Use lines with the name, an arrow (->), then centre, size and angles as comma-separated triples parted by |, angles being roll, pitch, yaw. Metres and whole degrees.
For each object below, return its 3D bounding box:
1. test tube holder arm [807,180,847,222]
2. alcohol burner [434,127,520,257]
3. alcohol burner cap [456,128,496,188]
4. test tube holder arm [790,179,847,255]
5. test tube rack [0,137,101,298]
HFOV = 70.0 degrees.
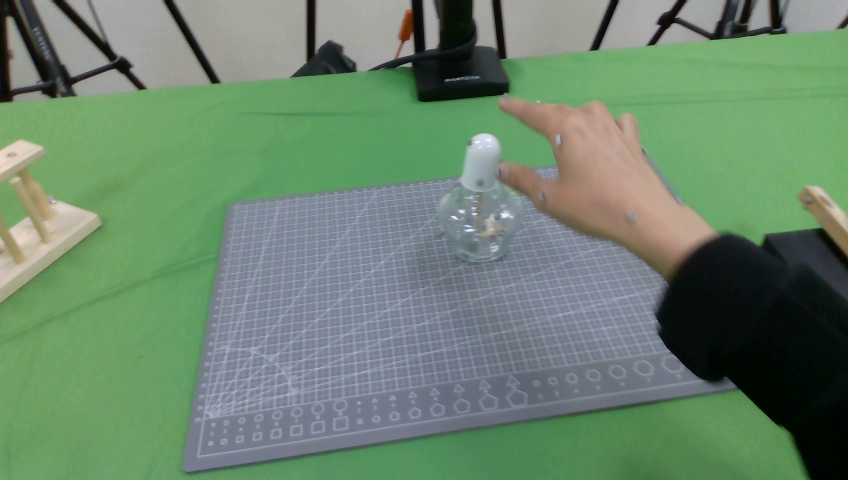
test tube holder arm -> 0.335, 0.012, 0.456 | 0.013, 0.015, 0.176 | -1, 42, -9
alcohol burner -> 0.046, -0.044, 0.530 | 0.078, 0.120, 0.077 | -2, 41, 2
alcohol burner cap -> 0.045, -0.070, 0.505 | 0.034, 0.048, 0.033 | 3, 41, -2
test tube holder arm -> 0.325, -0.018, 0.488 | 0.010, 0.015, 0.087 | 0, 42, -8
test tube rack -> -0.410, 0.015, 0.516 | 0.066, 0.086, 0.241 | 17, 46, 20
